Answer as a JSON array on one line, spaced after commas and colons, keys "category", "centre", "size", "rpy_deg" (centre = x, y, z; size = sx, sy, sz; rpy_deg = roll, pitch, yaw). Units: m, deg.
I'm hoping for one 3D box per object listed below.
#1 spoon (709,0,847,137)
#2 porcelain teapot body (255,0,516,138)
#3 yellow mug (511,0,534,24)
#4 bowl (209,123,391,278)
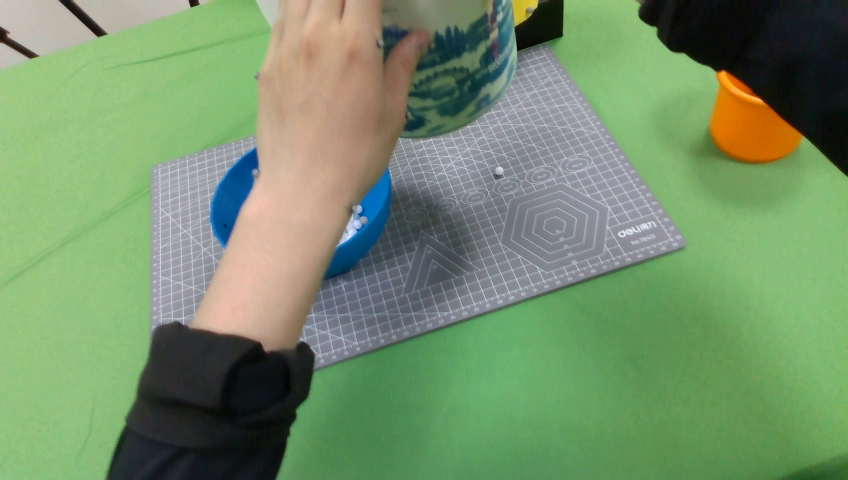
[{"category": "spoon", "centre": [0.319, -0.160, 0.500], "size": [0.022, 0.194, 0.041], "rpy_deg": [13, 41, -36]}, {"category": "porcelain teapot body", "centre": [-0.046, -0.181, 0.406], "size": [0.205, 0.227, 0.144], "rpy_deg": [-6, 58, 9]}, {"category": "yellow mug", "centre": [0.058, -0.261, 0.615], "size": [0.099, 0.064, 0.130], "rpy_deg": [10, 59, 18]}, {"category": "bowl", "centre": [-0.095, -0.020, 0.520], "size": [0.151, 0.077, 0.150], "rpy_deg": [-5, 53, 7]}]
